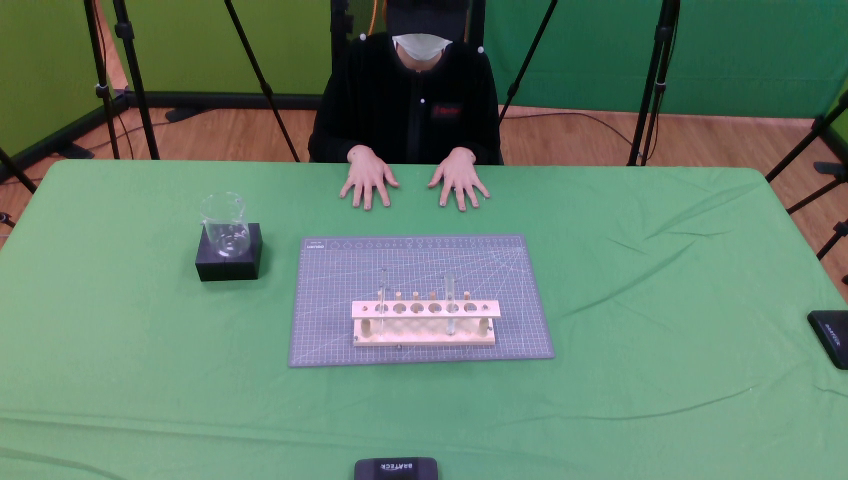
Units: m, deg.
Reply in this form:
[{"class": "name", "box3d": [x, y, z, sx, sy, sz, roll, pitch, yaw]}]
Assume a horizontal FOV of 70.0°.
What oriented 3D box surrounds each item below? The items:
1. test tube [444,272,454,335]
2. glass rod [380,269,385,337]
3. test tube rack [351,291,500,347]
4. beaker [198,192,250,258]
[{"class": "test tube", "box3d": [0.041, 0.106, 0.982, 0.017, 0.151, 0.017, -1, 46, 2]}, {"class": "glass rod", "box3d": [-0.066, 0.104, 0.953, 0.008, 0.200, 0.008, 3, 52, -3]}, {"class": "test tube rack", "box3d": [0.000, 0.129, 1.026, 0.242, 0.085, 0.066, 0, 46, -4]}, {"class": "beaker", "box3d": [-0.347, -0.023, 1.069, 0.083, 0.101, 0.074, 32, 52, 23]}]
